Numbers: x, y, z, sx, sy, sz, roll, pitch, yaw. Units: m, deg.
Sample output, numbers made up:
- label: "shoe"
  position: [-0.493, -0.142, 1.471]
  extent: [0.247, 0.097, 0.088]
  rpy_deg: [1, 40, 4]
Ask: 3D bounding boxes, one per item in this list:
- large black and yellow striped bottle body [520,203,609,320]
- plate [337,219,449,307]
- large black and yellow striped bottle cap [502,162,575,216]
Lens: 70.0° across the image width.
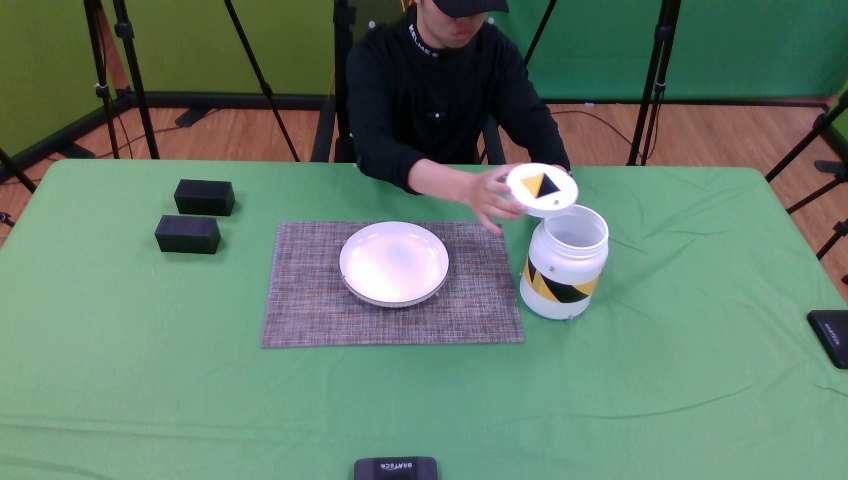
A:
- label: "large black and yellow striped bottle body"
  position: [0.247, 0.038, 1.065]
  extent: [0.131, 0.185, 0.130]
  rpy_deg: [2, 46, -2]
- label: "plate"
  position: [-0.057, 0.045, 1.132]
  extent: [0.208, 0.039, 0.206]
  rpy_deg: [2, 46, -2]
- label: "large black and yellow striped bottle cap"
  position: [0.183, -0.083, 0.966]
  extent: [0.115, 0.019, 0.114]
  rpy_deg: [3, 45, -3]
